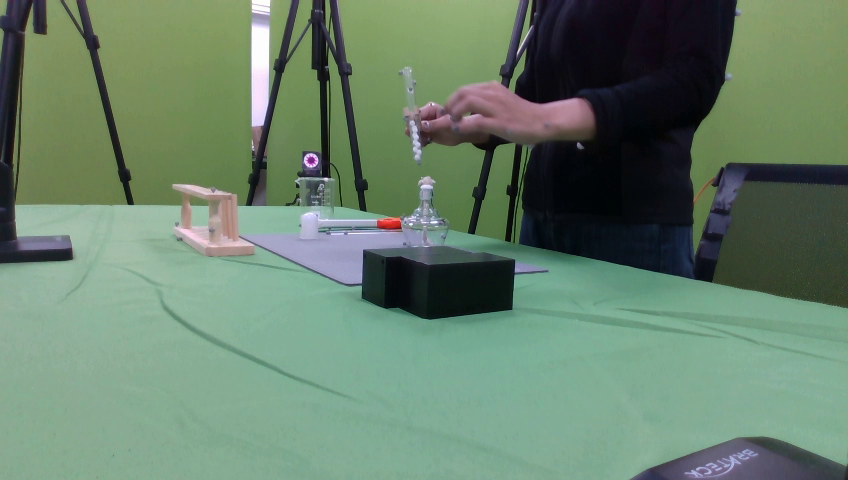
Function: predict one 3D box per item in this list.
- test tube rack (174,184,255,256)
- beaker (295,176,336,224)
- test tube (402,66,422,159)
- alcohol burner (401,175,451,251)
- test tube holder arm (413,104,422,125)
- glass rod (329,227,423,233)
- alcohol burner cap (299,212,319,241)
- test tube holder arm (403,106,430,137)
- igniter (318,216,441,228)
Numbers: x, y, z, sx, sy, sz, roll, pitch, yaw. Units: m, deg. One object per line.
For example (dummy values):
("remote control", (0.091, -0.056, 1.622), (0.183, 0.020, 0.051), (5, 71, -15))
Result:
("test tube rack", (-0.327, -0.036, 0.928), (0.067, 0.085, 0.241), (-2, 9, -32))
("beaker", (-0.224, -0.080, 1.247), (0.084, 0.100, 0.073), (-1, 8, -18))
("test tube", (-0.018, -0.198, 0.937), (0.017, 0.150, 0.017), (-7, -8, -1))
("alcohol burner", (0.004, -0.042, 0.947), (0.078, 0.119, 0.078), (1, 9, 0))
("test tube holder arm", (-0.011, -0.197, 0.960), (0.010, 0.015, 0.088), (-5, -3, 2))
("glass rod", (-0.087, -0.019, 1.148), (0.201, 0.008, 0.008), (-3, 8, -32))
("alcohol burner cap", (-0.195, -0.024, 1.025), (0.034, 0.048, 0.034), (3, 7, 0))
("test tube holder arm", (-0.011, -0.195, 1.005), (0.013, 0.015, 0.179), (-5, -3, 10))
("igniter", (-0.090, -0.035, 1.223), (0.278, 0.025, 0.057), (-2, -1, -31))
